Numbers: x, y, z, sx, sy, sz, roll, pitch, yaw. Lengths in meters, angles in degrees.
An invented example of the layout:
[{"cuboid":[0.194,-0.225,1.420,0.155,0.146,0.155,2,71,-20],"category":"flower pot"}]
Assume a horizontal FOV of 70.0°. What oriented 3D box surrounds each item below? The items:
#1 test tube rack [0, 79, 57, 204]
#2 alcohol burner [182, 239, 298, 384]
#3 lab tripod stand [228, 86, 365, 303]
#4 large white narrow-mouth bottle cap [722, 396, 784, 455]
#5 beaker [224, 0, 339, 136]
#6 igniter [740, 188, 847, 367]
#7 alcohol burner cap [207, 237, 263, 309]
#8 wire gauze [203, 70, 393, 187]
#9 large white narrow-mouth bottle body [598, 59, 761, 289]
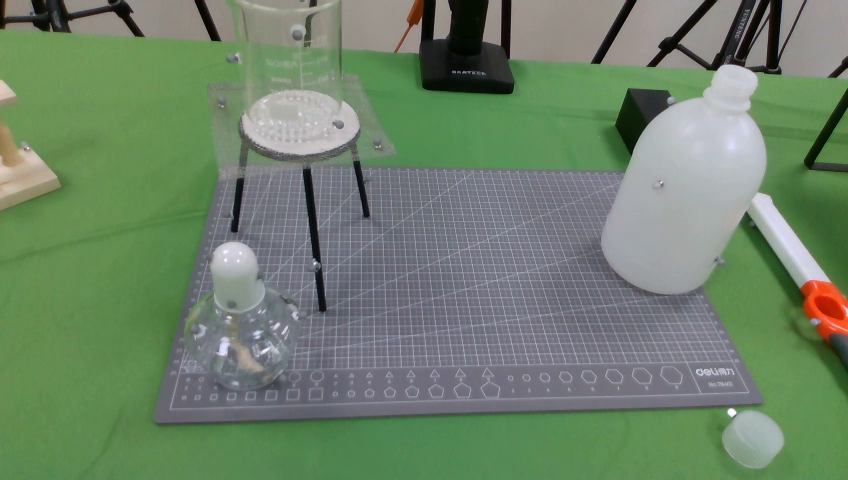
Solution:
[{"cuboid":[-0.451,-0.048,0.492,0.066,0.086,0.242,37,50,27],"category":"test tube rack"},{"cuboid":[-0.126,0.044,0.414,0.078,0.120,0.077,5,42,-4],"category":"alcohol burner"},{"cuboid":[-0.099,-0.043,0.496,0.148,0.132,0.147,5,44,-5],"category":"lab tripod stand"},{"cuboid":[0.239,0.135,0.441,0.038,0.024,0.037,4,43,-3],"category":"large white narrow-mouth bottle cap"},{"cuboid":[-0.098,-0.130,0.420,0.084,0.101,0.073,-4,46,-12],"category":"beaker"},{"cuboid":[0.354,0.044,0.547,0.057,0.025,0.273,9,42,-14],"category":"igniter"},{"cuboid":[-0.123,0.019,0.389,0.034,0.048,0.033,4,49,-4],"category":"alcohol burner cap"},{"cuboid":[-0.097,-0.092,0.452,0.122,0.011,0.123,-11,50,-16],"category":"wire gauze"},{"cuboid":[0.218,-0.055,0.507,0.102,0.196,0.101,3,43,-3],"category":"large white narrow-mouth bottle body"}]
